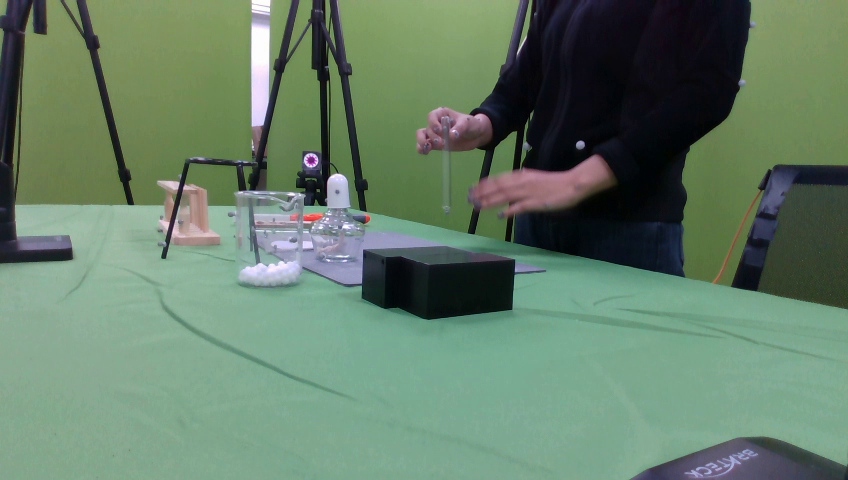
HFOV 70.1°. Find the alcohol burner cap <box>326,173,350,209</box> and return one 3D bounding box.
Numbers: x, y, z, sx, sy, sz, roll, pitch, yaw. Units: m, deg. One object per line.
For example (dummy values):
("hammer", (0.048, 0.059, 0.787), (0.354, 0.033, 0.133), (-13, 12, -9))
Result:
("alcohol burner cap", (-0.116, -0.065, 0.808), (0.034, 0.048, 0.034), (-3, 10, 1))

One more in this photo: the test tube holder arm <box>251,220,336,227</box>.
("test tube holder arm", (-0.253, -0.031, 1.156), (0.179, 0.015, 0.013), (-2, 44, -30))

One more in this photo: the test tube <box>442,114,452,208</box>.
("test tube", (0.036, -0.125, 0.966), (0.017, 0.150, 0.017), (0, 1, 0))

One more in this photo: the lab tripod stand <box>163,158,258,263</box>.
("lab tripod stand", (-0.265, -0.041, 0.802), (0.148, 0.131, 0.148), (4, 7, 0))

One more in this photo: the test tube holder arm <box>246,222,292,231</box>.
("test tube holder arm", (-0.291, -0.026, 1.130), (0.088, 0.015, 0.010), (-1, 43, -30))

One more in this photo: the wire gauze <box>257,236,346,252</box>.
("wire gauze", (-0.189, 0.005, 0.931), (0.122, 0.011, 0.124), (1, 7, -21))

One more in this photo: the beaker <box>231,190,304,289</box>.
("beaker", (-0.166, -0.001, 0.653), (0.074, 0.100, 0.083), (-4, 10, -40))

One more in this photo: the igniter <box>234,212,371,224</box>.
("igniter", (-0.245, -0.045, 1.247), (0.278, 0.025, 0.057), (-1, -2, -25))

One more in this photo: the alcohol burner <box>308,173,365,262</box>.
("alcohol burner", (-0.117, -0.030, 0.813), (0.078, 0.119, 0.078), (4, 9, 0))

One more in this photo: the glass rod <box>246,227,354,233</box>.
("glass rod", (-0.224, -0.017, 1.109), (0.201, 0.008, 0.008), (1, 7, -27))

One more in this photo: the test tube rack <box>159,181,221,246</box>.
("test tube rack", (-0.395, -0.050, 1.010), (0.067, 0.085, 0.241), (-2, 8, -28))
